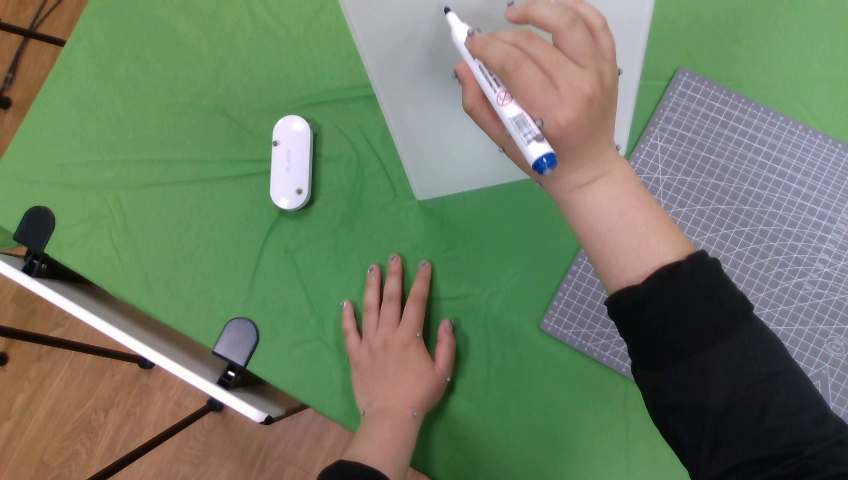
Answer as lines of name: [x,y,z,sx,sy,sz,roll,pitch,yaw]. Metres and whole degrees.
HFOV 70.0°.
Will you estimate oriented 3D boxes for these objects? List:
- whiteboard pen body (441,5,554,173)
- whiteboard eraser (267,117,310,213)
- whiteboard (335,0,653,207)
whiteboard pen body: [0.041,-0.098,0.374,0.017,0.017,0.139,-28,67,3]
whiteboard eraser: [-0.144,-0.080,0.642,0.041,0.019,0.101,1,84,6]
whiteboard: [0.059,-0.185,0.520,0.217,0.308,0.142,-11,62,6]
